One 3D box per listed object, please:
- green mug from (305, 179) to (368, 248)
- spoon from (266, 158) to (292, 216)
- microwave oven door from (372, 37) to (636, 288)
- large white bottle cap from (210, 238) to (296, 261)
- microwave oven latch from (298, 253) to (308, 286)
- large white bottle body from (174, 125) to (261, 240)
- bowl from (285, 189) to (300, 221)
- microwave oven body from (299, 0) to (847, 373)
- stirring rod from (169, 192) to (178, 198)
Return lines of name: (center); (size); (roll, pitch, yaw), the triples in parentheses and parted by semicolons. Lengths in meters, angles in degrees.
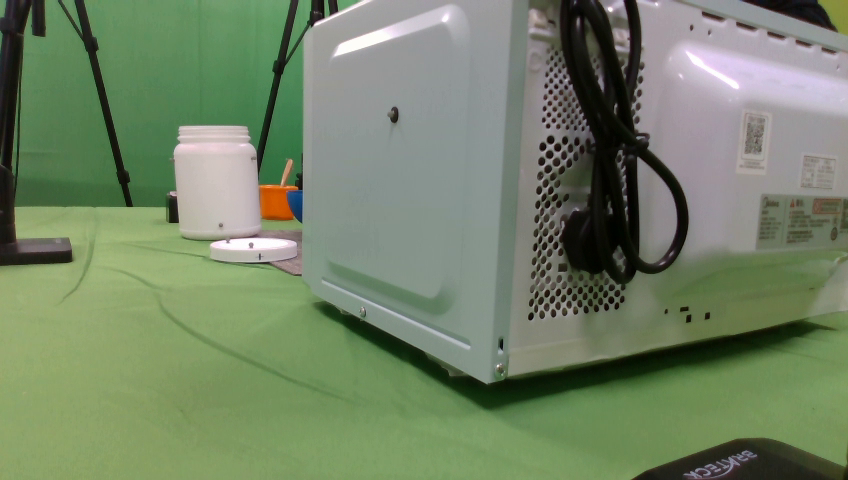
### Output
green mug: (-0.133, -0.044, 0.977); (0.092, 0.105, 0.126); (6, 8, 32)
spoon: (-0.334, -0.127, 1.423); (0.041, 0.193, 0.022); (0, -37, 7)
microwave oven door: (0.110, -0.080, 0.686); (0.358, 0.243, 0.039); (-2, 9, -33)
large white bottle cap: (-0.236, 0.012, 0.839); (0.115, 0.018, 0.115); (1, 7, 0)
microwave oven latch: (-0.081, 0.027, 0.582); (0.079, 0.029, 0.030); (-2, 7, -32)
large white bottle body: (-0.349, -0.100, 1.025); (0.131, 0.184, 0.130); (-1, 9, 0)
bowl: (-0.180, -0.050, 1.113); (0.151, 0.077, 0.151); (3, 8, 0)
microwave oven body: (0.152, -0.055, 0.542); (0.444, 0.260, 0.324); (-2, 7, -33)
stirring rod: (-0.466, -0.098, 1.283); (0.014, 0.006, 0.177); (42, 21, 17)
